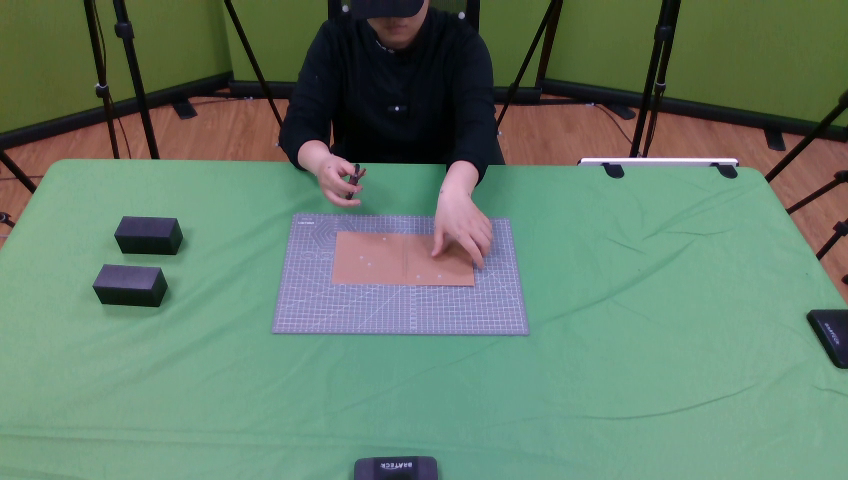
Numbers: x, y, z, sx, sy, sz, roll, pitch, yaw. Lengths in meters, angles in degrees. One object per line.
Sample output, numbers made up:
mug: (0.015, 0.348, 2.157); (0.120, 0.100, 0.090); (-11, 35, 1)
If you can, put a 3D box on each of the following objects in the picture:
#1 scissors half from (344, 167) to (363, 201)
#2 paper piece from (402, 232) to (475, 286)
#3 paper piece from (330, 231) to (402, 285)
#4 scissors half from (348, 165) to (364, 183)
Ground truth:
scissors half: (-0.131, -0.109, 1.140); (0.013, 0.175, 0.040); (18, 72, -11)
paper piece: (0.025, 0.036, 1.170); (0.138, 0.009, 0.135); (2, 49, -3)
paper piece: (-0.108, 0.033, 1.163); (0.135, 0.004, 0.135); (2, 46, -3)
scissors half: (-0.127, -0.128, 1.143); (0.013, 0.175, 0.040); (13, 89, -13)
